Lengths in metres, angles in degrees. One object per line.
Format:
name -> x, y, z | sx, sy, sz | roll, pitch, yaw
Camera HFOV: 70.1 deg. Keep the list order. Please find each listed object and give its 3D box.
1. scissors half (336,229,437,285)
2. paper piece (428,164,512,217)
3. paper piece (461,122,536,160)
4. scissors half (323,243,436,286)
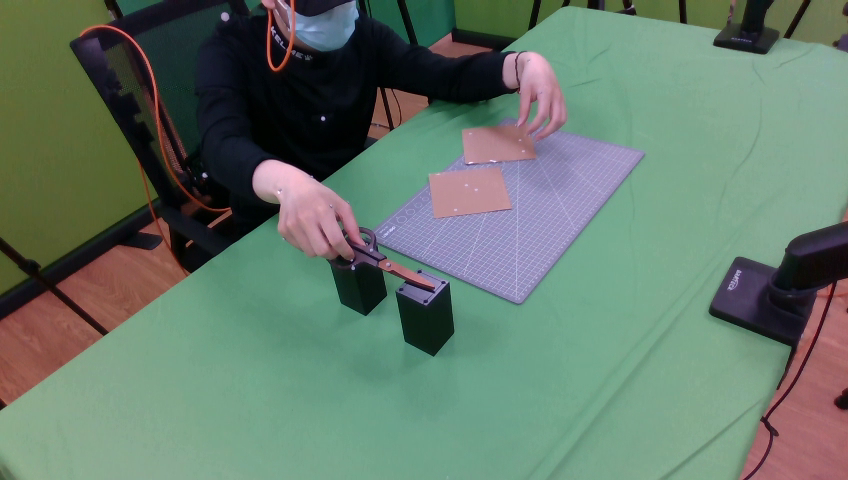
scissors half -> -0.050, 0.022, 0.798 | 0.173, 0.013, 0.040 | 28, 63, 33
paper piece -> 0.078, -0.091, 1.070 | 0.135, 0.004, 0.135 | -6, 41, 0
paper piece -> 0.143, -0.193, 1.181 | 0.136, 0.009, 0.137 | -1, 38, 1
scissors half -> -0.061, 0.036, 0.788 | 0.174, 0.013, 0.040 | 13, 50, 25
